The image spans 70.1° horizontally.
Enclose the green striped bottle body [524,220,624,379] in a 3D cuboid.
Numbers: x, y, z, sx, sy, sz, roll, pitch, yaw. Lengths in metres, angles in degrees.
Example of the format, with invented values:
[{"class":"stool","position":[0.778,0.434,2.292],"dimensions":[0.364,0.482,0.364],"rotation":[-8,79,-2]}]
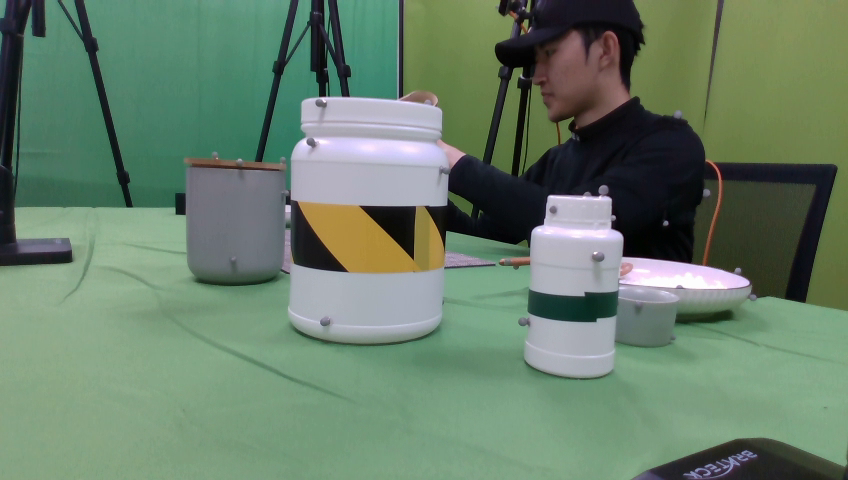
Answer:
[{"class":"green striped bottle body","position":[0.104,0.031,0.422],"dimensions":[0.063,0.119,0.063],"rotation":[2,7,0]}]

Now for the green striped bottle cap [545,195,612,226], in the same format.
[{"class":"green striped bottle cap","position":[0.106,-0.020,0.414],"dimensions":[0.044,0.020,0.044],"rotation":[2,4,0]}]

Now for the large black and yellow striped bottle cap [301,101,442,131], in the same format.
[{"class":"large black and yellow striped bottle cap","position":[-0.042,-0.100,0.491],"dimensions":[0.115,0.019,0.115],"rotation":[1,8,0]}]

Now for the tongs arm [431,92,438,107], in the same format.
[{"class":"tongs arm","position":[-0.037,-0.209,1.220],"dimensions":[0.028,0.028,0.388],"rotation":[17,40,12]}]

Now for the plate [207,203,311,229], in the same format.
[{"class":"plate","position":[-0.342,-0.050,1.259],"dimensions":[0.208,0.039,0.207],"rotation":[2,7,0]}]

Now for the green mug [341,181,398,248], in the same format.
[{"class":"green mug","position":[-0.089,-0.044,0.997],"dimensions":[0.093,0.105,0.125],"rotation":[1,7,-8]}]

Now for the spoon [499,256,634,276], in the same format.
[{"class":"spoon","position":[0.162,0.027,0.679],"dimensions":[0.195,0.021,0.041],"rotation":[8,2,-30]}]

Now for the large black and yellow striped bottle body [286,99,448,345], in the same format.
[{"class":"large black and yellow striped bottle body","position":[-0.047,-0.018,0.501],"dimensions":[0.131,0.184,0.130],"rotation":[2,7,0]}]

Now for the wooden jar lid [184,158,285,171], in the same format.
[{"class":"wooden jar lid","position":[-0.210,-0.078,0.674],"dimensions":[0.108,0.020,0.108],"rotation":[5,6,0]}]

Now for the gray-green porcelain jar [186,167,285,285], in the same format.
[{"class":"gray-green porcelain jar","position":[-0.212,-0.017,0.682],"dimensions":[0.106,0.126,0.106],"rotation":[2,7,0]}]

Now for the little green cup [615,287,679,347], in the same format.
[{"class":"little green cup","position":[0.180,0.064,0.506],"dimensions":[0.061,0.038,0.061],"rotation":[1,8,0]}]

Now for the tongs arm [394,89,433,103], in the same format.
[{"class":"tongs arm","position":[-0.100,-0.240,1.237],"dimensions":[0.050,0.026,0.386],"rotation":[27,42,18]}]

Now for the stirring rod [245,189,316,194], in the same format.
[{"class":"stirring rod","position":[-0.351,-0.120,1.490],"dimensions":[0.177,0.014,0.006],"rotation":[-2,6,-29]}]

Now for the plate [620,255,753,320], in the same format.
[{"class":"plate","position":[0.234,0.049,0.651],"dimensions":[0.209,0.038,0.209],"rotation":[2,7,0]}]
